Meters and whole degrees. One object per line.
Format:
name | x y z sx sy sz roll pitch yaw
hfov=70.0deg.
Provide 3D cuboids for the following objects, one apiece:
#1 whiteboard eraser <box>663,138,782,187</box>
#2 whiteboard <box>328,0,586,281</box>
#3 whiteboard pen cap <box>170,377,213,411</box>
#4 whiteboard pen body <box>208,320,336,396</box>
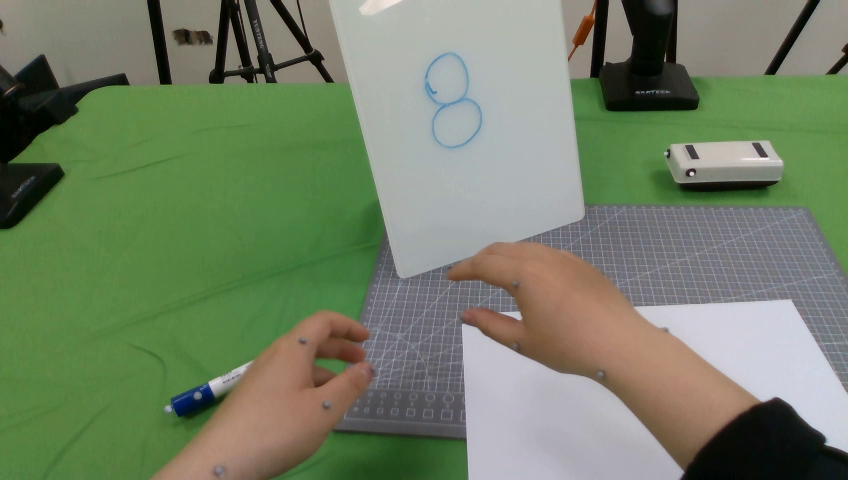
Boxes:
whiteboard eraser | 0.332 -0.086 0.679 0.112 0.042 0.055 0 43 5
whiteboard | 0.023 -0.149 0.630 0.217 0.307 0.142 -18 22 -13
whiteboard pen cap | -0.190 0.126 0.499 0.033 0.018 0.018 -26 45 -23
whiteboard pen body | -0.141 0.105 0.522 0.141 0.017 0.017 -25 45 -23
